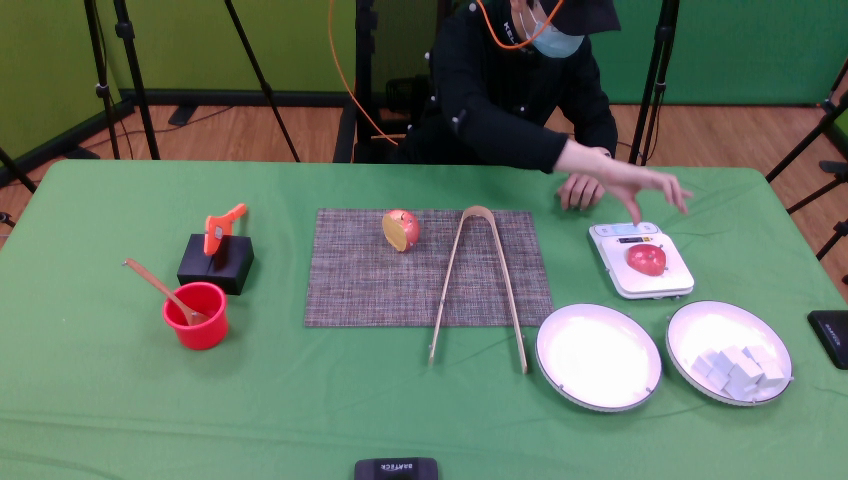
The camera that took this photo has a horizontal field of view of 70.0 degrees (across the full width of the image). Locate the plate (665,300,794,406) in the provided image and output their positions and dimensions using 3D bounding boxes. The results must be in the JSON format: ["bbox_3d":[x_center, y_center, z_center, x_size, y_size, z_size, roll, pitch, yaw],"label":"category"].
[{"bbox_3d":[0.513,0.194,1.033,0.208,0.039,0.206,2,46,-2],"label":"plate"}]

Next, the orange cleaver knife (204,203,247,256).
[{"bbox_3d":[-0.374,-0.024,1.146,0.012,0.077,0.211,4,14,1],"label":"orange cleaver knife"}]

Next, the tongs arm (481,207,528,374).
[{"bbox_3d":[0.149,0.077,1.124,0.028,0.028,0.385,-5,46,-2],"label":"tongs arm"}]

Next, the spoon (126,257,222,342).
[{"bbox_3d":[-0.408,0.096,0.990,0.194,0.021,0.041,50,53,-18],"label":"spoon"}]

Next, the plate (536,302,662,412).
[{"bbox_3d":[0.288,0.197,1.016,0.209,0.038,0.208,2,46,-2],"label":"plate"}]

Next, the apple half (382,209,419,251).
[{"bbox_3d":[-0.039,-0.022,1.175,0.053,0.075,0.080,-27,49,-31],"label":"apple half"}]

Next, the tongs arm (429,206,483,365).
[{"bbox_3d":[0.064,0.069,1.124,0.051,0.026,0.382,8,46,5],"label":"tongs arm"}]

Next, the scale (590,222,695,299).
[{"bbox_3d":[0.424,0.031,1.189,0.149,0.032,0.199,-3,46,-7],"label":"scale"}]

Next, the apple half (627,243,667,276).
[{"bbox_3d":[0.427,0.028,1.150,0.081,0.033,0.081,3,47,-3],"label":"apple half"}]
